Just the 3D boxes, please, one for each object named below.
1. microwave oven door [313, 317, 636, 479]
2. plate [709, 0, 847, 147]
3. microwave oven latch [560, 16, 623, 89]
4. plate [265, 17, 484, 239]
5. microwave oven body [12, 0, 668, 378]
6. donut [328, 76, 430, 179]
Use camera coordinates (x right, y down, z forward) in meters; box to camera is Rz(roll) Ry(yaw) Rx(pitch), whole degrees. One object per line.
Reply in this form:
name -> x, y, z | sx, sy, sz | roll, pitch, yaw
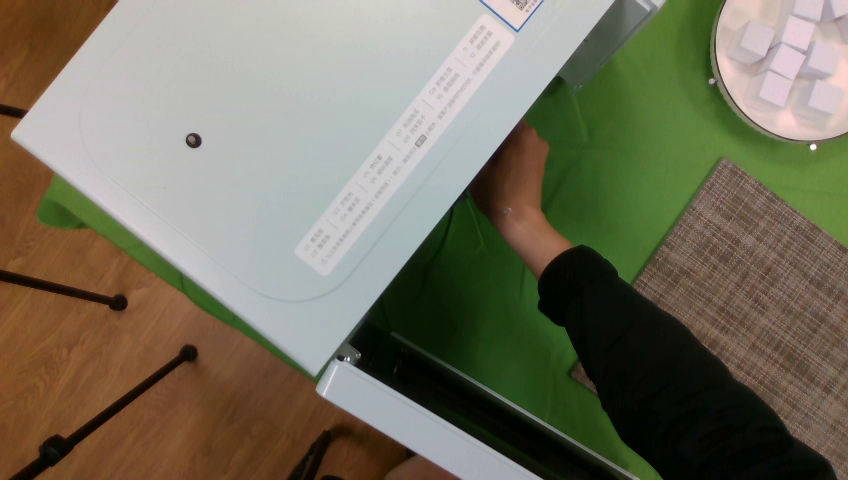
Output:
microwave oven door -> 0.077, 0.187, 0.543 | 0.356, 0.244, 0.039 | 31, 88, -1
plate -> 0.415, -0.205, 0.674 | 0.208, 0.039, 0.207 | 0, 90, -2
microwave oven latch -> 0.176, -0.201, 0.647 | 0.030, 0.029, 0.079 | 43, 89, -1
plate -> -0.047, -0.106, 0.587 | 0.209, 0.038, 0.209 | 0, 96, -1
microwave oven body -> -0.048, -0.156, 0.545 | 0.326, 0.260, 0.441 | 39, 90, -1
donut -> -0.043, -0.107, 0.581 | 0.099, 0.048, 0.099 | 0, 92, 3
